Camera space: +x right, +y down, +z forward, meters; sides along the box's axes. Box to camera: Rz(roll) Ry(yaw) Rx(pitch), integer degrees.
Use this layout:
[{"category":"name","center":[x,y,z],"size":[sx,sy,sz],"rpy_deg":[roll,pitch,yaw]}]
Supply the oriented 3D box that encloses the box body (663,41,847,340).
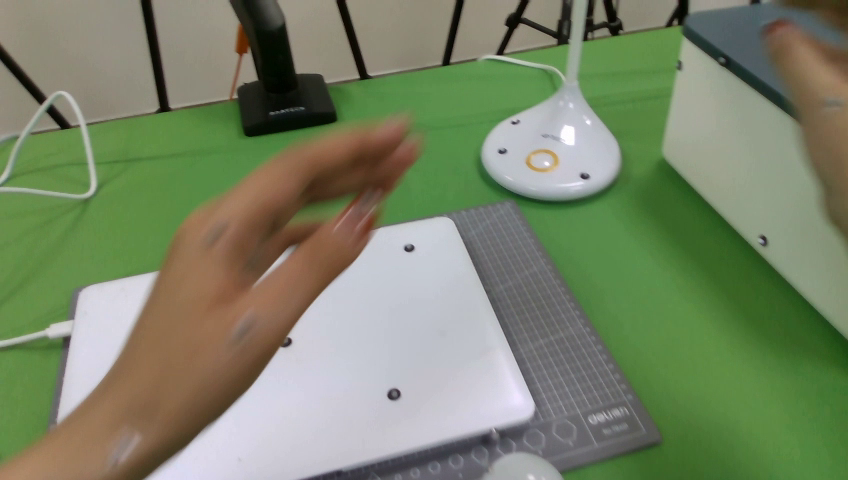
[{"category":"box body","center":[0.429,-0.070,0.565],"size":[0.254,0.162,0.359],"rpy_deg":[-13,44,-12]}]

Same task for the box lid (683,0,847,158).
[{"category":"box lid","center":[0.427,-0.127,0.515],"size":[0.264,0.015,0.367],"rpy_deg":[-12,44,-12]}]

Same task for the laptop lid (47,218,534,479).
[{"category":"laptop lid","center":[-0.113,0.088,0.502],"size":[0.357,0.013,0.239],"rpy_deg":[-10,46,-9]}]

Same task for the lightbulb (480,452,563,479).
[{"category":"lightbulb","center":[0.068,0.189,0.383],"size":[0.059,0.060,0.106],"rpy_deg":[-9,59,-7]}]

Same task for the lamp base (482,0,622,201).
[{"category":"lamp base","center":[0.149,-0.163,0.661],"size":[0.160,0.182,0.178],"rpy_deg":[12,42,15]}]

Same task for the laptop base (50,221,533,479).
[{"category":"laptop base","center":[-0.113,0.095,0.512],"size":[0.355,0.023,0.233],"rpy_deg":[-11,47,-10]}]
